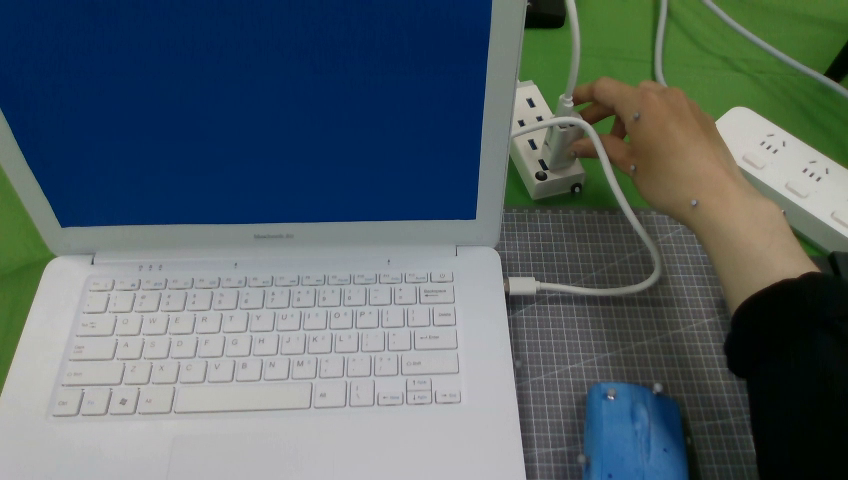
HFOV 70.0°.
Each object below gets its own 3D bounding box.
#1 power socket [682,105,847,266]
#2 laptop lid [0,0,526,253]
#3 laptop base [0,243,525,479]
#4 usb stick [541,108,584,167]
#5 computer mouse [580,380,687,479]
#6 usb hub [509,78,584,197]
[{"bbox_3d":[0.336,-0.041,0.524,0.072,0.033,0.225,-36,64,-23],"label":"power socket"},{"bbox_3d":[-0.116,-0.078,0.404,0.357,0.244,0.013,-2,43,-1],"label":"laptop lid"},{"bbox_3d":[-0.113,0.108,0.421,0.354,0.023,0.233,-1,59,-2],"label":"laptop base"},{"bbox_3d":[0.116,-0.081,0.514,0.027,0.060,0.021,-21,56,-10],"label":"usb stick"},{"bbox_3d":[0.133,0.143,0.388,0.062,0.041,0.116,10,52,9],"label":"computer mouse"},{"bbox_3d":[0.098,-0.097,0.559,0.049,0.025,0.124,-13,57,-10],"label":"usb hub"}]
